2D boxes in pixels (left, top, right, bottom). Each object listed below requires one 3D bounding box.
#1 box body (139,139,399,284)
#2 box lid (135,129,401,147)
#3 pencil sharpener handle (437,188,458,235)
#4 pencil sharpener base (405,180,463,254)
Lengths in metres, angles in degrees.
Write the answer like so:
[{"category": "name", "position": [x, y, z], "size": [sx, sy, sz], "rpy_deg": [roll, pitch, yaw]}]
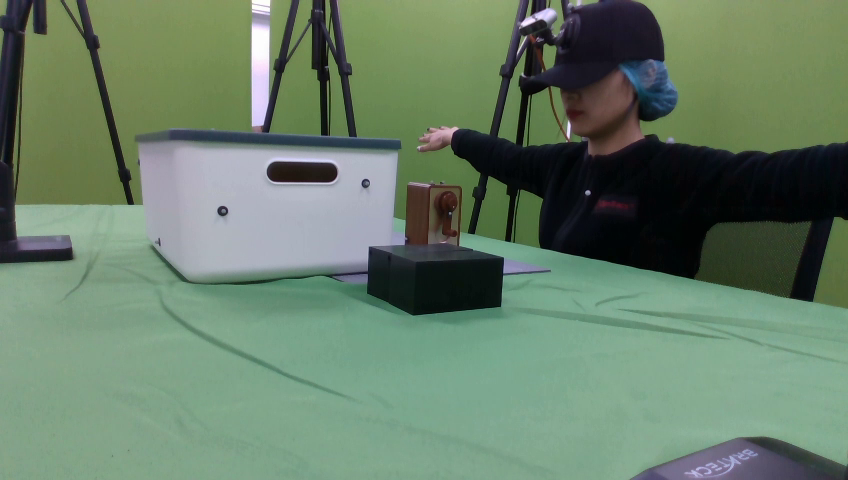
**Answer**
[{"category": "box body", "position": [-0.222, -0.056, 0.807], "size": [0.255, 0.160, 0.362], "rpy_deg": [-3, 9, -31]}, {"category": "box lid", "position": [-0.220, -0.129, 0.795], "size": [0.265, 0.015, 0.369], "rpy_deg": [-4, 9, -31]}, {"category": "pencil sharpener handle", "position": [0.041, -0.041, 0.877], "size": [0.036, 0.067, 0.030], "rpy_deg": [1, 7, -30]}, {"category": "pencil sharpener base", "position": [0.016, -0.035, 0.922], "size": [0.061, 0.107, 0.076], "rpy_deg": [-2, 9, -30]}]
